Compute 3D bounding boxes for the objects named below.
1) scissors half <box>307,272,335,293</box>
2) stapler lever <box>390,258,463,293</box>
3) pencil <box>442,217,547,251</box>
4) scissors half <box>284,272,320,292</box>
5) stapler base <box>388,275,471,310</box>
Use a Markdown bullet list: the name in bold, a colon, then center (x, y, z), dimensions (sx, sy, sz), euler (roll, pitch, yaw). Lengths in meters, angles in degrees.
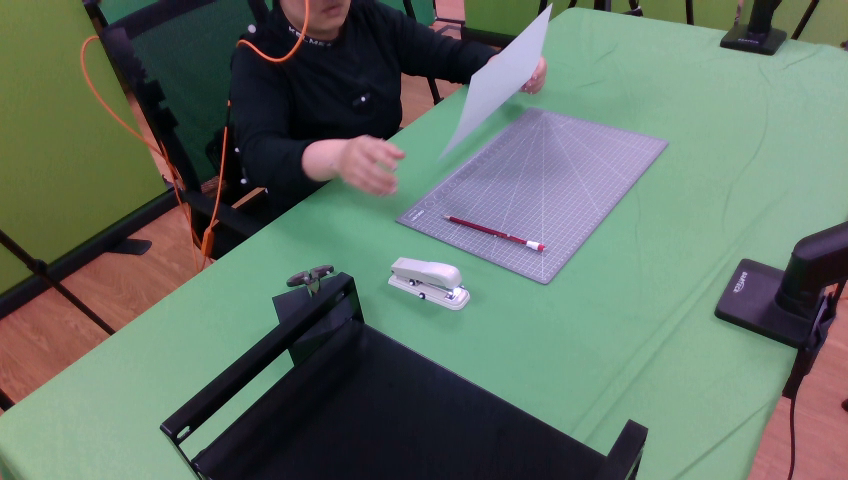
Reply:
- **scissors half**: center (-0.152, 0.062, 0.873), dimensions (0.040, 0.013, 0.175), euler (0, 5, -5)
- **stapler lever**: center (0.003, 0.046, 0.881), dimensions (0.117, 0.040, 0.027), euler (17, 44, 29)
- **pencil**: center (0.110, -0.012, 0.979), dimensions (0.192, 0.012, 0.012), euler (18, 46, 30)
- **scissors half**: center (-0.172, 0.063, 0.868), dimensions (0.040, 0.013, 0.174), euler (-7, 6, -23)
- **stapler base**: center (0.007, 0.066, 0.897), dimensions (0.129, 0.024, 0.041), euler (17, 44, 29)
